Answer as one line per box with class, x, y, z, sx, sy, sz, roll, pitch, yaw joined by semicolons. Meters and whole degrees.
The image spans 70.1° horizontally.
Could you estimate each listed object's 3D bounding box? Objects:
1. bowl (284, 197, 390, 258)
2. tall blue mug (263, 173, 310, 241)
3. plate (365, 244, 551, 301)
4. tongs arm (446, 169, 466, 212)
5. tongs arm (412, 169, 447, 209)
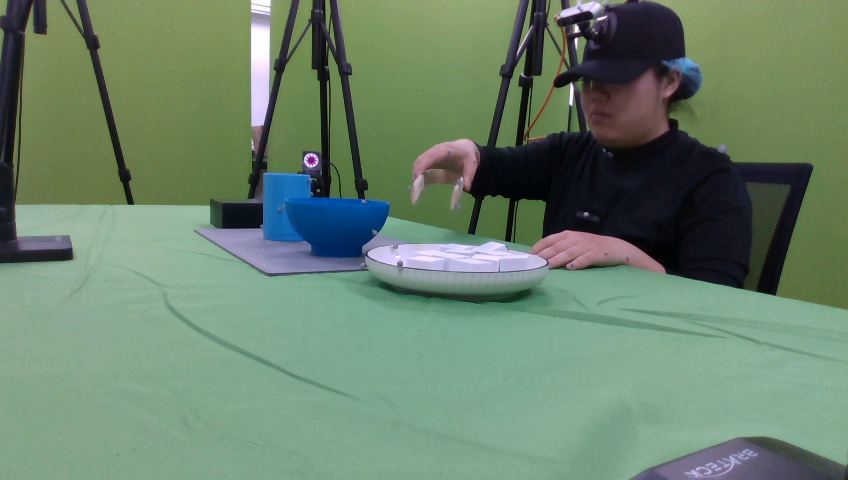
bowl;-0.125;-0.018;0.870;0.151;0.077;0.151;3;7;0
tall blue mug;-0.233;-0.058;1.019;0.078;0.108;0.107;-1;8;-19
plate;0.038;0.035;0.685;0.209;0.038;0.209;2;7;0
tongs arm;0.041;-0.082;0.932;0.051;0.026;0.385;5;11;7
tongs arm;0.010;-0.085;0.934;0.028;0.028;0.387;1;11;6
